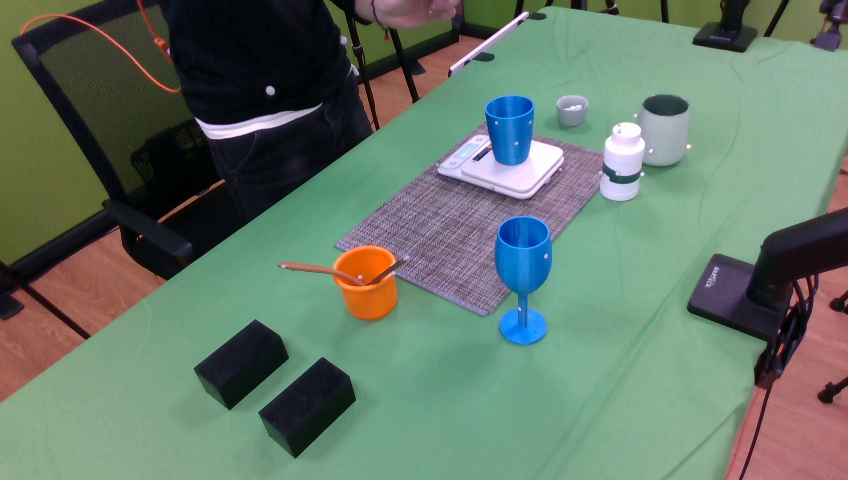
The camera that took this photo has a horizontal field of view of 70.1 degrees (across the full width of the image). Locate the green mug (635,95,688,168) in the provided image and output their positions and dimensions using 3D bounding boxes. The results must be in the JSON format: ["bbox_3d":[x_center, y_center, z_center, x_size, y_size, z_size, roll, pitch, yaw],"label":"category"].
[{"bbox_3d":[0.421,-0.201,1.081,0.092,0.105,0.125,5,42,15],"label":"green mug"}]

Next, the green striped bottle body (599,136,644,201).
[{"bbox_3d":[0.326,-0.128,0.997,0.063,0.120,0.063,-4,41,4],"label":"green striped bottle body"}]

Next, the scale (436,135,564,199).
[{"bbox_3d":[0.137,-0.142,1.101,0.199,0.032,0.149,22,48,30],"label":"scale"}]

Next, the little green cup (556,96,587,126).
[{"bbox_3d":[0.295,-0.258,1.214,0.061,0.039,0.061,-4,42,4],"label":"little green cup"}]

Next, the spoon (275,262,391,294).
[{"bbox_3d":[-0.120,0.050,0.830,0.041,0.195,0.021,31,97,45],"label":"spoon"}]

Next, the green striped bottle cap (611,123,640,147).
[{"bbox_3d":[0.322,-0.168,0.963,0.044,0.020,0.044,-3,42,3],"label":"green striped bottle cap"}]

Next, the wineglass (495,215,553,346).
[{"bbox_3d":[0.127,0.055,0.770,0.074,0.173,0.073,-4,40,4],"label":"wineglass"}]

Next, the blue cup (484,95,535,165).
[{"bbox_3d":[0.150,-0.188,1.053,0.092,0.100,0.092,-6,39,5],"label":"blue cup"}]

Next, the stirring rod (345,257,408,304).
[{"bbox_3d":[-0.067,0.057,0.815,0.014,0.175,0.006,-25,82,-38],"label":"stirring rod"}]
